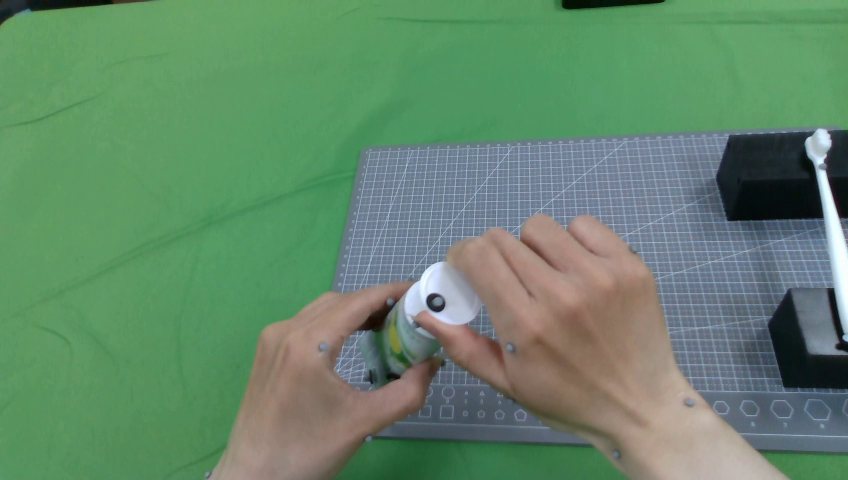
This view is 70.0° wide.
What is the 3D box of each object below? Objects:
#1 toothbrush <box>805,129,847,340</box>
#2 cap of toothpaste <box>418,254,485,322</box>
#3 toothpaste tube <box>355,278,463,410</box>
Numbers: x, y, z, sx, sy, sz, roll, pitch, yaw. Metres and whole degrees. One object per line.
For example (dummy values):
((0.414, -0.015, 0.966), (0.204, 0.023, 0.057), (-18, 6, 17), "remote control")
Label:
((0.286, -0.010, 0.420), (0.014, 0.017, 0.180), (14, 57, 1), "toothbrush")
((0.013, 0.025, 0.309), (0.037, 0.011, 0.037), (10, 62, -18), "cap of toothpaste")
((-0.014, 0.059, 0.374), (0.035, 0.165, 0.054), (-7, 65, -26), "toothpaste tube")
